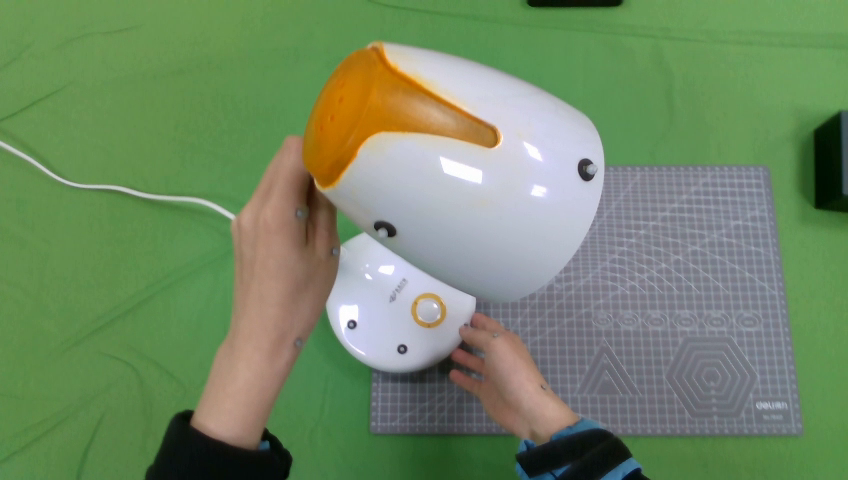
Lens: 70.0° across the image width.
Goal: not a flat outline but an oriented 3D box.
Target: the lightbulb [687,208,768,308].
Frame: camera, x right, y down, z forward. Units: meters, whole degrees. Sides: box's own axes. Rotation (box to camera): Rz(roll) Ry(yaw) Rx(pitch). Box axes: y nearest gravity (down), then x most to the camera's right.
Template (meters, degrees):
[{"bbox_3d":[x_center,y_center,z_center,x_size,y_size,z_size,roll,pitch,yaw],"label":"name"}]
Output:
[{"bbox_3d":[0.293,0.016,0.597,0.059,0.060,0.107,-20,67,-1],"label":"lightbulb"}]

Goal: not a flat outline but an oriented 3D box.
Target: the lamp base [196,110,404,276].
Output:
[{"bbox_3d":[-0.111,-0.057,0.520,0.179,0.181,0.160,10,82,3],"label":"lamp base"}]

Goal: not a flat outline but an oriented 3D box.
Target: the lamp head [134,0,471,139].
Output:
[{"bbox_3d":[-0.061,-0.109,0.235,0.124,0.112,0.112,13,81,-35],"label":"lamp head"}]
